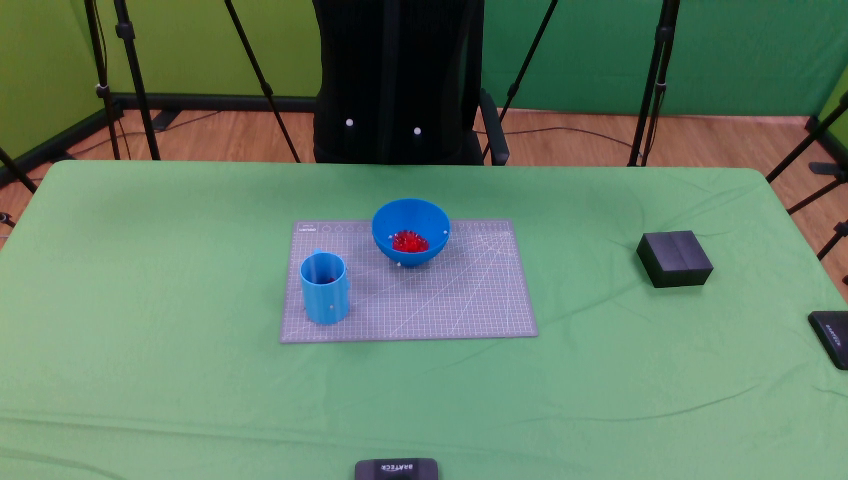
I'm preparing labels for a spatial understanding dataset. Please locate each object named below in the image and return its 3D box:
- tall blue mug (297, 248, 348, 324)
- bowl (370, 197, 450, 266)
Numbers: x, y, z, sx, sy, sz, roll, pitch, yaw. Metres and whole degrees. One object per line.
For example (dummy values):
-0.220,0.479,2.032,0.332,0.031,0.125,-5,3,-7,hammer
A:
-0.183,0.074,1.047,0.106,0.108,0.078,37,55,27,tall blue mug
-0.028,-0.003,1.155,0.151,0.077,0.150,2,46,-2,bowl
